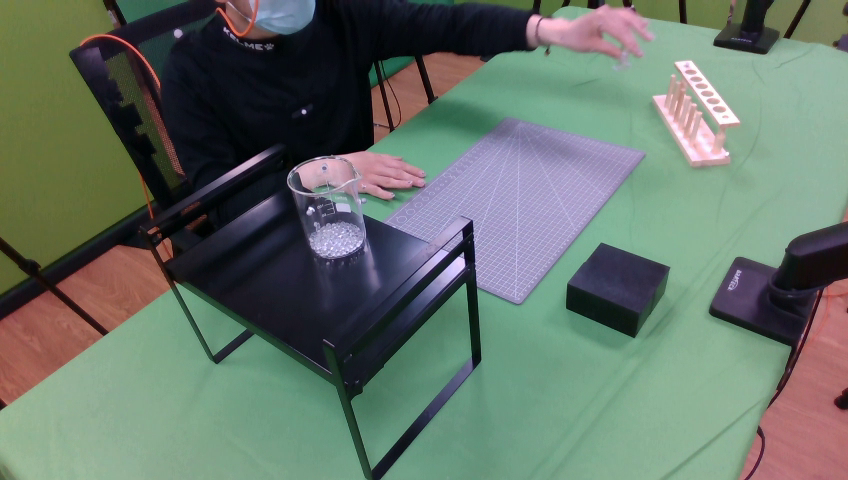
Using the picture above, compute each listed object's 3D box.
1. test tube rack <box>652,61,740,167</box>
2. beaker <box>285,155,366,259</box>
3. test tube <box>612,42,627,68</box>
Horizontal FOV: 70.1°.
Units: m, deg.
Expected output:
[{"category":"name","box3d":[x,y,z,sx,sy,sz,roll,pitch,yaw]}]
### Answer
[{"category":"test tube rack","box3d":[0.499,-0.242,1.130,0.067,0.085,0.241,-5,41,3]},{"category":"beaker","box3d":[-0.105,-0.035,0.690,0.084,0.101,0.073,-4,41,3]},{"category":"test tube","box3d":[0.328,-0.310,1.011,0.017,0.017,0.150,8,30,17]}]
